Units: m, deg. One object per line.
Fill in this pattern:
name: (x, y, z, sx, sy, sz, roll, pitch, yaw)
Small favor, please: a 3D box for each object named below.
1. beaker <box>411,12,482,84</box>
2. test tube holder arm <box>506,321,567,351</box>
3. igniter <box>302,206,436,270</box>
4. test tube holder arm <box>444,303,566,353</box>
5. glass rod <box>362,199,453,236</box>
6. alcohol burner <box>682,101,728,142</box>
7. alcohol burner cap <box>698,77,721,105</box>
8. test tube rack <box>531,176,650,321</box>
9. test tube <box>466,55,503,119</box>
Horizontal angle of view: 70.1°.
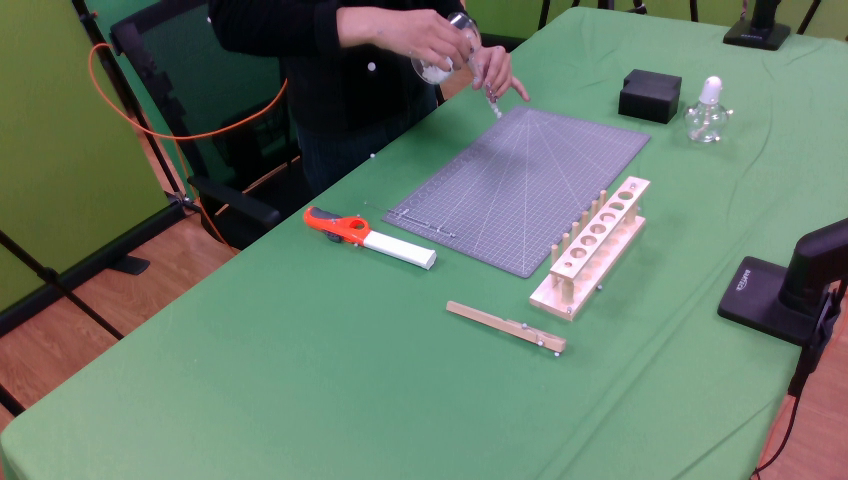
beaker: (0.034, -0.305, 0.977, 0.073, 0.084, 0.100, 27, 65, 40)
test tube holder arm: (0.148, 0.128, 0.808, 0.087, 0.015, 0.010, 16, 10, 28)
igniter: (-0.101, -0.007, 1.004, 0.274, 0.025, 0.057, 19, 58, 29)
test tube holder arm: (0.106, 0.117, 0.823, 0.177, 0.015, 0.013, 16, 10, 27)
glass rod: (-0.032, -0.041, 1.041, 0.198, 0.008, 0.008, 22, 50, 31)
alcohol burner: (0.513, -0.239, 1.097, 0.078, 0.119, 0.077, -4, 40, 4)
alcohol burner cap: (0.509, -0.266, 1.072, 0.034, 0.048, 0.033, -4, 48, 5)
test tube rack: (0.246, 0.002, 0.884, 0.066, 0.085, 0.243, 22, 49, 32)
test tube: (0.110, -0.268, 1.074, 0.017, 0.151, 0.017, -16, 52, 21)
